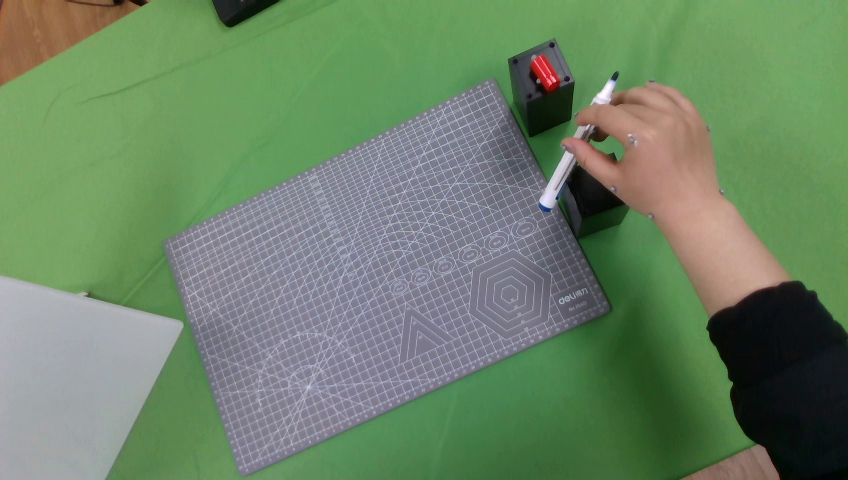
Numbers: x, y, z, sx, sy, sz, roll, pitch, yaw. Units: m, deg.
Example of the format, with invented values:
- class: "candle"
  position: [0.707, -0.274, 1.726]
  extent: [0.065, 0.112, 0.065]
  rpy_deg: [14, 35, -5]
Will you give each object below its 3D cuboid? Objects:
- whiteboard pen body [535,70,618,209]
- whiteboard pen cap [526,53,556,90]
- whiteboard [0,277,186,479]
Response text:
- class: "whiteboard pen body"
  position: [0.135, -0.087, 0.540]
  extent: [0.017, 0.017, 0.141]
  rpy_deg: [34, 123, 15]
- class: "whiteboard pen cap"
  position: [0.113, -0.162, 0.584]
  extent: [0.017, 0.017, 0.032]
  rpy_deg: [-31, 78, 5]
- class: "whiteboard"
  position: [-0.456, 0.127, 0.632]
  extent: [0.142, 0.308, 0.217]
  rpy_deg: [24, 86, 34]
